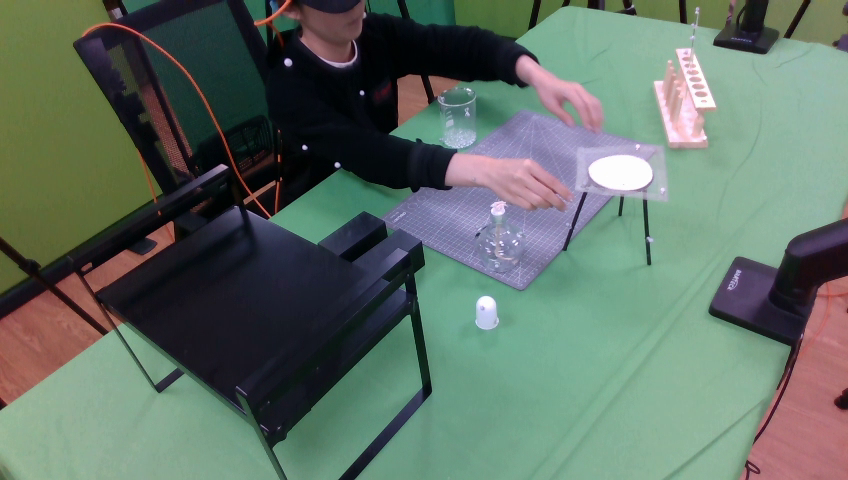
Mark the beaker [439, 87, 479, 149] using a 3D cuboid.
[{"bbox_3d":[0.072,-0.238,1.184,0.073,0.101,0.084,29,52,35],"label":"beaker"}]

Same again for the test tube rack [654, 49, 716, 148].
[{"bbox_3d":[0.502,-0.281,1.176,0.066,0.085,0.241,2,41,11],"label":"test tube rack"}]

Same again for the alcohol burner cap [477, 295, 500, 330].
[{"bbox_3d":[0.089,0.097,0.833,0.034,0.048,0.033,-4,42,4],"label":"alcohol burner cap"}]

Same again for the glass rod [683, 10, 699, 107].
[{"bbox_3d":[0.501,-0.335,1.138,0.008,0.201,0.008,-7,45,7],"label":"glass rod"}]

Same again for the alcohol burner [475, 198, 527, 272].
[{"bbox_3d":[0.113,-0.012,0.897,0.078,0.119,0.077,-6,40,5],"label":"alcohol burner"}]

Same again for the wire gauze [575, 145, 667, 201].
[{"bbox_3d":[0.279,-0.100,0.860,0.124,0.011,0.121,5,43,14],"label":"wire gauze"}]

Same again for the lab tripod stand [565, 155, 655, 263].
[{"bbox_3d":[0.285,-0.046,0.901,0.148,0.132,0.147,-5,42,5],"label":"lab tripod stand"}]
